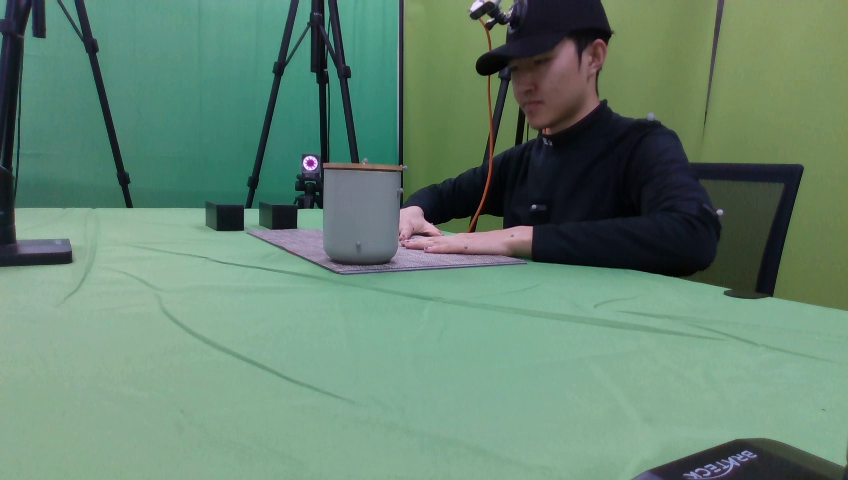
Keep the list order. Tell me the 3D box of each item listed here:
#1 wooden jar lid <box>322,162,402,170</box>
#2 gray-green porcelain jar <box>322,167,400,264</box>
[{"bbox_3d":[-0.084,-0.095,0.825,0.108,0.020,0.108,2,4,0],"label":"wooden jar lid"},{"bbox_3d":[-0.087,-0.035,0.833,0.106,0.126,0.106,2,7,0],"label":"gray-green porcelain jar"}]
